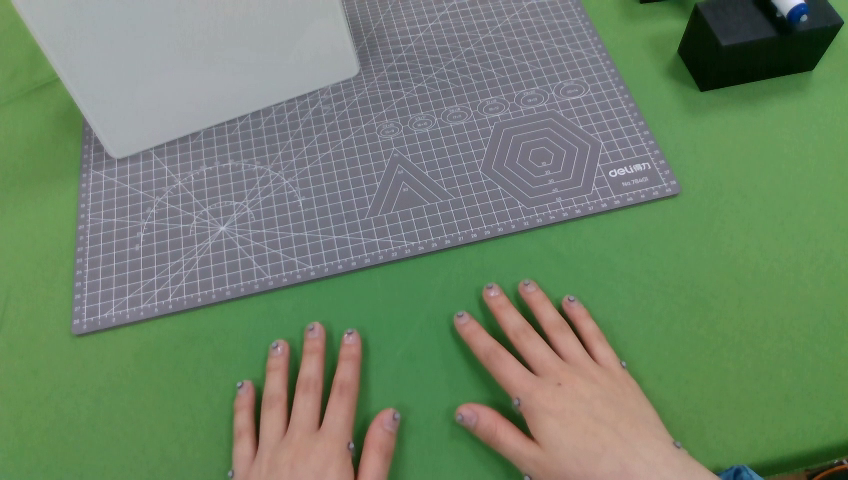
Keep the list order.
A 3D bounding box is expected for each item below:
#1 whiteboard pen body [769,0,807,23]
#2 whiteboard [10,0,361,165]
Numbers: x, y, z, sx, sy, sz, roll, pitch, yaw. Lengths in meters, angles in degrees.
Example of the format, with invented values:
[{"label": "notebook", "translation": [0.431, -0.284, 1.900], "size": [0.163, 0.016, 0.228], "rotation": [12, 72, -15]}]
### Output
[{"label": "whiteboard pen body", "translation": [0.262, -0.225, 0.488], "size": [0.017, 0.017, 0.139], "rotation": [-16, 61, -6]}, {"label": "whiteboard", "translation": [-0.203, -0.251, 0.454], "size": [0.217, 0.308, 0.142], "rotation": [-22, 42, -8]}]
